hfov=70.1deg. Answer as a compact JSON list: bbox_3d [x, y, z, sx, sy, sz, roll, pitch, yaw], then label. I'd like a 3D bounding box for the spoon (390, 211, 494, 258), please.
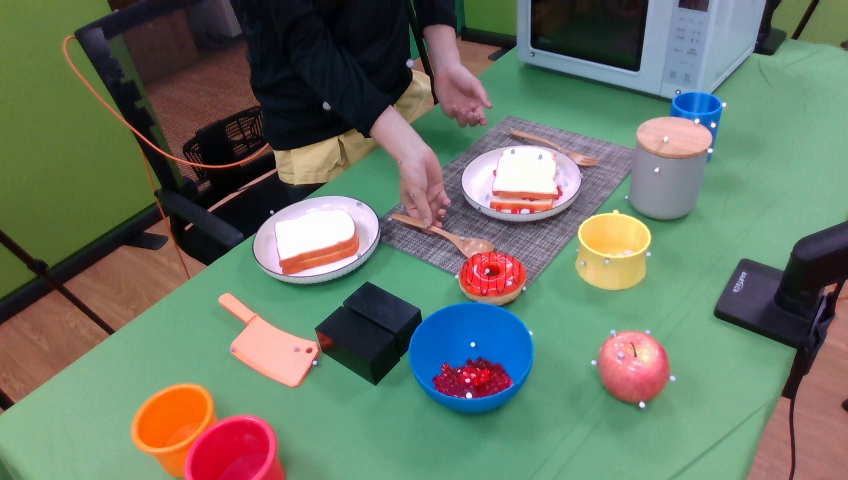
[{"bbox_3d":[0.025,-0.013,0.966,0.192,0.022,0.041,25,70,22],"label":"spoon"}]

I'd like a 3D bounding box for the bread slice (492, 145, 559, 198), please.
[{"bbox_3d":[0.172,-0.118,1.028,0.107,0.018,0.134,3,43,7],"label":"bread slice"}]

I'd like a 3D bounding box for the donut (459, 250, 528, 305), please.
[{"bbox_3d":[0.100,0.053,0.873,0.099,0.048,0.098,-4,40,4],"label":"donut"}]

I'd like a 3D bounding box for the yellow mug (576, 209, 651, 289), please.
[{"bbox_3d":[0.279,0.004,0.893,0.099,0.064,0.130,6,42,14],"label":"yellow mug"}]

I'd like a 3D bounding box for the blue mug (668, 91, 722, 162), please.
[{"bbox_3d":[0.475,-0.207,1.078,0.082,0.106,0.116,4,42,13],"label":"blue mug"}]

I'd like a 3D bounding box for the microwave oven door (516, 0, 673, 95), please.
[{"bbox_3d":[0.344,-0.458,1.256,0.353,0.245,0.039,26,51,33],"label":"microwave oven door"}]

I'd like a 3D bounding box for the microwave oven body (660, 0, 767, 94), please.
[{"bbox_3d":[0.473,-0.516,1.313,0.438,0.261,0.327,26,51,34],"label":"microwave oven body"}]

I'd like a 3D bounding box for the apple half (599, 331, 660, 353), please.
[{"bbox_3d":[0.249,0.134,0.738,0.081,0.081,0.032,-1,46,7],"label":"apple half"}]

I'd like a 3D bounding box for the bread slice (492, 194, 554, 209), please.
[{"bbox_3d":[0.174,-0.098,1.049,0.104,0.019,0.131,2,46,12],"label":"bread slice"}]

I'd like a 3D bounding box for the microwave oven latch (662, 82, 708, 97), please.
[{"bbox_3d":[0.517,-0.298,1.202,0.078,0.029,0.030,28,52,35],"label":"microwave oven latch"}]

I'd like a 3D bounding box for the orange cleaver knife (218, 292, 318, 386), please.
[{"bbox_3d":[-0.235,0.136,0.850,0.209,0.012,0.077,25,57,30],"label":"orange cleaver knife"}]

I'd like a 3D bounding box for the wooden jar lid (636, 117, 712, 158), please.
[{"bbox_3d":[0.377,-0.151,0.917,0.108,0.021,0.108,-2,42,2],"label":"wooden jar lid"}]

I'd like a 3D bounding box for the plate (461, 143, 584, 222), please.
[{"bbox_3d":[0.168,-0.095,1.040,0.207,0.039,0.206,-4,41,4],"label":"plate"}]

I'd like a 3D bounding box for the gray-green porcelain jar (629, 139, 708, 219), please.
[{"bbox_3d":[0.383,-0.105,0.958,0.106,0.127,0.105,-4,41,4],"label":"gray-green porcelain jar"}]

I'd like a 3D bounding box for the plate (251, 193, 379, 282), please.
[{"bbox_3d":[-0.174,-0.001,0.984,0.209,0.038,0.208,-4,40,4],"label":"plate"}]

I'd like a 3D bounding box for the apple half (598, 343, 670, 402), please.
[{"bbox_3d":[0.247,0.161,0.710,0.081,0.075,0.053,2,47,5],"label":"apple half"}]

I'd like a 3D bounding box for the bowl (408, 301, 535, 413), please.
[{"bbox_3d":[0.060,0.156,0.739,0.151,0.077,0.150,-4,40,4],"label":"bowl"}]

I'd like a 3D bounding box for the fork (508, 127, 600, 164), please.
[{"bbox_3d":[0.240,-0.180,1.142,0.205,0.019,0.028,32,61,34],"label":"fork"}]
